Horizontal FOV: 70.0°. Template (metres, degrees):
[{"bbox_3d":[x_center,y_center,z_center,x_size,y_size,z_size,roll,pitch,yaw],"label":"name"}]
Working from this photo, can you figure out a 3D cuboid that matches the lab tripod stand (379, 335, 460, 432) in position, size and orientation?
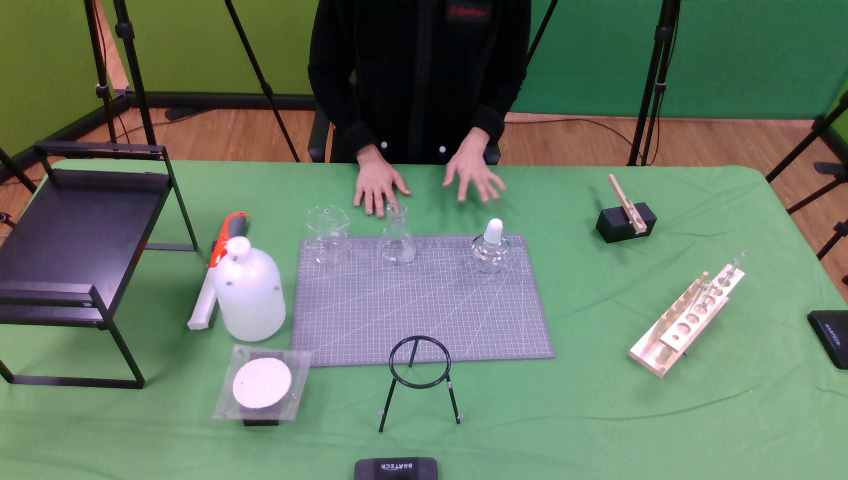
[{"bbox_3d":[-0.011,0.214,0.911,0.148,0.132,0.147,1,45,0],"label":"lab tripod stand"}]

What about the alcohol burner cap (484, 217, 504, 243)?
[{"bbox_3d":[0.130,-0.021,1.107,0.034,0.048,0.033,5,46,-5],"label":"alcohol burner cap"}]

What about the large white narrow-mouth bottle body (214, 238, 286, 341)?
[{"bbox_3d":[-0.285,0.073,0.986,0.102,0.195,0.101,2,46,-2],"label":"large white narrow-mouth bottle body"}]

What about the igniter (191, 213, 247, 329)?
[{"bbox_3d":[-0.376,0.047,1.121,0.057,0.025,0.275,-4,46,6],"label":"igniter"}]

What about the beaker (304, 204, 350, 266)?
[{"bbox_3d":[-0.178,-0.006,1.132,0.084,0.101,0.073,4,46,-1],"label":"beaker"}]

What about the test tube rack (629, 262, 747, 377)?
[{"bbox_3d":[0.464,0.126,1.060,0.242,0.085,0.066,-34,56,-31],"label":"test tube rack"}]

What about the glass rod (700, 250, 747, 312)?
[{"bbox_3d":[0.500,0.075,1.021,0.008,0.201,0.008,0,54,1],"label":"glass rod"}]

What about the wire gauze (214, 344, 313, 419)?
[{"bbox_3d":[-0.241,0.213,0.915,0.121,0.011,0.124,5,46,1],"label":"wire gauze"}]

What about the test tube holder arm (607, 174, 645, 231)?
[{"bbox_3d":[0.411,-0.080,1.238,0.013,0.015,0.177,1,41,-13],"label":"test tube holder arm"}]

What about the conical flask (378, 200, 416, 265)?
[{"bbox_3d":[-0.050,-0.018,1.136,0.075,0.122,0.075,2,46,-2],"label":"conical flask"}]

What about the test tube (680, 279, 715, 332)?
[{"bbox_3d":[0.445,0.119,0.997,0.017,0.151,0.017,1,44,-1],"label":"test tube"}]

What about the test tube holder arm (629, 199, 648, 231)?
[{"bbox_3d":[0.423,-0.050,1.206,0.010,0.015,0.087,1,41,-12],"label":"test tube holder arm"}]

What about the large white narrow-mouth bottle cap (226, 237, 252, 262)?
[{"bbox_3d":[-0.282,0.014,0.923,0.038,0.024,0.037,2,46,-2],"label":"large white narrow-mouth bottle cap"}]

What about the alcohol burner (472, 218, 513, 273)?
[{"bbox_3d":[0.128,0.005,1.132,0.078,0.120,0.077,0,47,0],"label":"alcohol burner"}]
